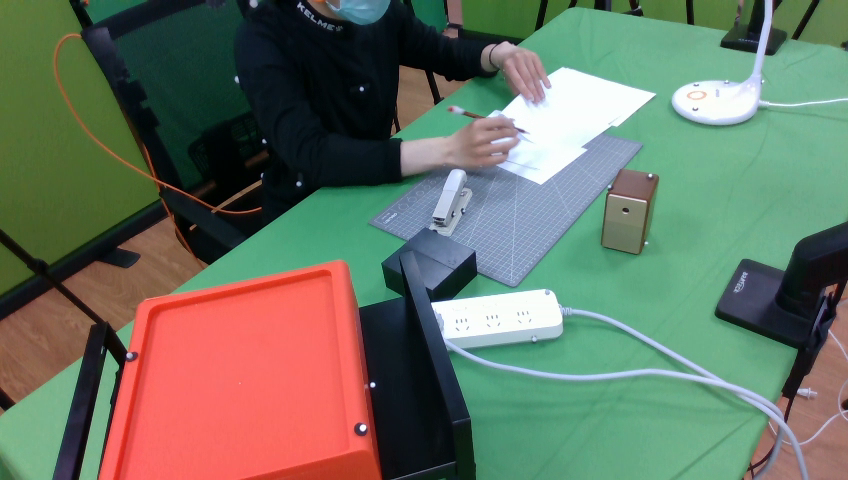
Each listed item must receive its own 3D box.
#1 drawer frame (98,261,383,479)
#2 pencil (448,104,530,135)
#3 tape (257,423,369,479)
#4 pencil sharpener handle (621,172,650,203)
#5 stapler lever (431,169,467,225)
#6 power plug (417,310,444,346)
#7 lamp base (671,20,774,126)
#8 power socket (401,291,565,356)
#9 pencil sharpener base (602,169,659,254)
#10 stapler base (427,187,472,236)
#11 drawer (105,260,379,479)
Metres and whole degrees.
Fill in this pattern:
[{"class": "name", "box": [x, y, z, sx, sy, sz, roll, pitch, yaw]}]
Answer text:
[{"class": "drawer frame", "box": [-0.148, 0.129, 0.520, 0.202, 0.083, 0.212, -12, 41, -6]}, {"class": "pencil", "box": [0.120, -0.211, 1.072, 0.196, 0.012, 0.012, 10, 28, -36]}, {"class": "tape", "box": [-0.121, 0.262, 0.660, 0.117, 0.053, 0.116, -4, 40, 4]}, {"class": "pencil sharpener handle", "box": [0.328, -0.087, 0.941, 0.036, 0.068, 0.030, 30, 49, 7]}, {"class": "stapler lever", "box": [0.043, -0.074, 1.010, 0.026, 0.040, 0.118, 10, 44, 20]}, {"class": "power plug", "box": [0.006, 0.122, 0.785, 0.035, 0.053, 0.072, -1, 40, 9]}, {"class": "lamp base", "box": [0.581, -0.332, 1.154, 0.179, 0.181, 0.160, 2, 42, 7]}, {"class": "power socket", "box": [0.080, 0.112, 0.822, 0.227, 0.033, 0.072, -6, 41, 0]}, {"class": "pencil sharpener base", "box": [0.312, -0.044, 0.914, 0.061, 0.107, 0.077, 14, 45, 24]}, {"class": "stapler base", "box": [0.045, -0.057, 1.028, 0.041, 0.024, 0.130, 10, 45, 20]}, {"class": "drawer", "box": [-0.150, 0.127, 0.525, 0.195, 0.073, 0.210, -11, 41, -5]}]
